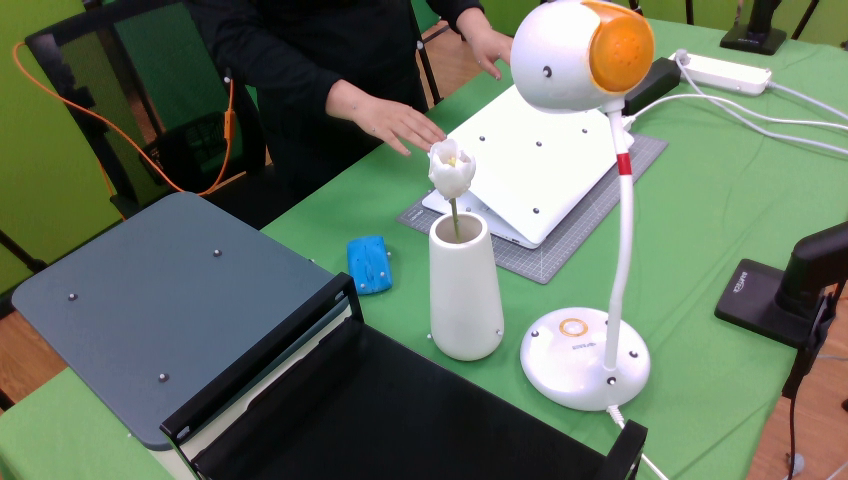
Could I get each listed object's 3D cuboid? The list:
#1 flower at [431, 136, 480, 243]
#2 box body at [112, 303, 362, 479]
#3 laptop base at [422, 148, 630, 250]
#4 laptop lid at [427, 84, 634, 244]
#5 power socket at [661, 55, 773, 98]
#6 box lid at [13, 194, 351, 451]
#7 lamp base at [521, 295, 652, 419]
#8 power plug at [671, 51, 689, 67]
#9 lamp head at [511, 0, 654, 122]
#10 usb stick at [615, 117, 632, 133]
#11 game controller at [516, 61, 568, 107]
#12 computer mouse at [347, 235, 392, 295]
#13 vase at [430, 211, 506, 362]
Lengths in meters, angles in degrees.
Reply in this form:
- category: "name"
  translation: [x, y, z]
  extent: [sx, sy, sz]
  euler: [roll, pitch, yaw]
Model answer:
- category: "flower"
  translation: [0.041, 0.011, 0.691]
  extent: [0.044, 0.363, 0.038]
  euler: [16, 62, 14]
- category: "box body"
  translation: [-0.285, 0.123, 0.766]
  extent: [0.361, 0.161, 0.255]
  euler: [25, 49, 33]
- category: "laptop base"
  translation: [0.192, -0.116, 1.087]
  extent: [0.233, 0.023, 0.355]
  euler: [21, 48, 34]
- category: "laptop lid"
  translation: [0.196, -0.161, 1.038]
  extent: [0.241, 0.013, 0.358]
  euler: [42, 56, 12]
- category: "power socket"
  translation: [0.619, -0.352, 1.289]
  extent: [0.225, 0.033, 0.072]
  euler: [26, 51, 33]
- category: "box lid"
  translation: [-0.292, 0.067, 0.717]
  extent: [0.368, 0.015, 0.264]
  euler: [25, 50, 33]
- category: "lamp base"
  translation: [0.200, 0.095, 0.710]
  extent: [0.161, 0.181, 0.177]
  euler: [-16, 43, -10]
- category: "power plug"
  translation: [0.541, -0.378, 1.301]
  extent: [0.073, 0.053, 0.035]
  euler: [-33, 46, -23]
- category: "lamp head"
  translation: [0.155, -0.168, 0.564]
  extent: [0.113, 0.113, 0.122]
  euler: [-18, 23, -12]
- category: "usb stick"
  translation: [0.371, -0.208, 1.146]
  extent: [0.021, 0.027, 0.059]
  euler: [25, 52, 29]
- category: "game controller"
  translation: [0.259, -0.352, 1.336]
  extent: [0.097, 0.052, 0.154]
  euler: [-3, 41, 2]
- category: "computer mouse"
  translation: [-0.086, 0.034, 0.936]
  extent: [0.063, 0.041, 0.116]
  euler: [-8, 45, -5]
- category: "vase"
  translation: [0.054, 0.062, 0.757]
  extent: [0.098, 0.201, 0.097]
  euler: [-3, 40, 3]
